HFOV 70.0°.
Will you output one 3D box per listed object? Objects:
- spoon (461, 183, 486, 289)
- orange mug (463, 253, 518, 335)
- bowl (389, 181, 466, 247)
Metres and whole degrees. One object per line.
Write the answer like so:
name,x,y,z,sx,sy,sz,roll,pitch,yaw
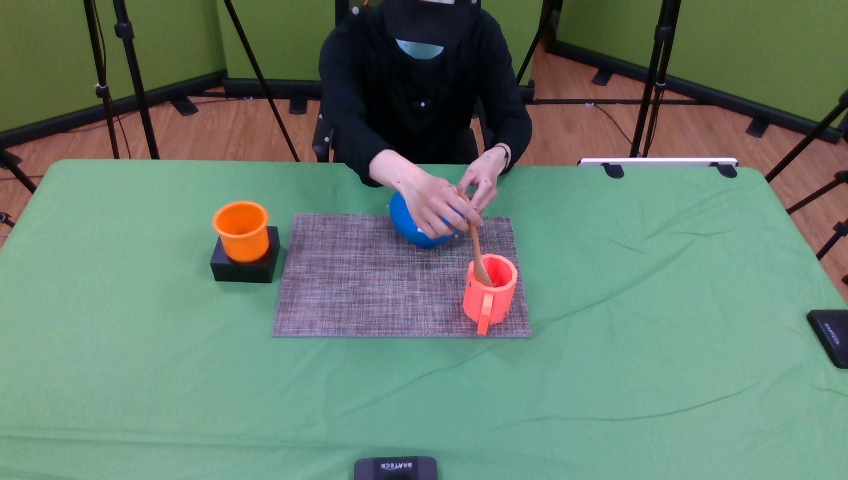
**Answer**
spoon,0.084,-0.001,0.998,0.021,0.194,0.041,-4,20,13
orange mug,0.113,0.098,1.050,0.083,0.101,0.125,10,41,5
bowl,0.006,-0.039,1.189,0.151,0.077,0.150,2,46,-2
